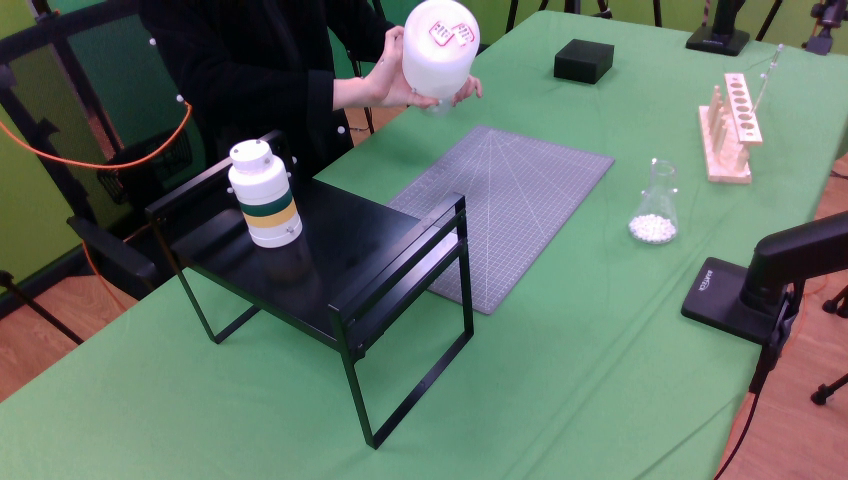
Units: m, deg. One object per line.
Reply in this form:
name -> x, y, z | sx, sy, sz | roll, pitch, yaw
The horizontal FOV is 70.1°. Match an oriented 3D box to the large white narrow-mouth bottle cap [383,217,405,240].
large white narrow-mouth bottle cap -> -0.050, -0.019, 1.003 | 0.038, 0.024, 0.037 | -4, 39, 4

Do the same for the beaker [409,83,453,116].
beaker -> 0.017, -0.259, 1.031 | 0.084, 0.100, 0.074 | -5, 84, 0

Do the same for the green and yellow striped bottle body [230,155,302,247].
green and yellow striped bottle body -> -0.188, -0.055, 0.714 | 0.063, 0.120, 0.063 | -4, 41, 4

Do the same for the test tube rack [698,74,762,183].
test tube rack -> 0.547, -0.208, 1.095 | 0.066, 0.085, 0.242 | 5, 42, 15

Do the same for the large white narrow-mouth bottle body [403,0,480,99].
large white narrow-mouth bottle body -> 0.020, -0.264, 0.889 | 0.102, 0.194, 0.101 | 0, 83, -3

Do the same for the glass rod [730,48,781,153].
glass rod -> 0.554, -0.228, 1.015 | 0.008, 0.200, 0.008 | 1, 44, -1

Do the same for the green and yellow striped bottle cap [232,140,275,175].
green and yellow striped bottle cap -> -0.192, -0.093, 0.680 | 0.045, 0.020, 0.045 | -5, 39, 5

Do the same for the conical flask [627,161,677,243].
conical flask -> 0.355, -0.061, 0.921 | 0.075, 0.122, 0.075 | -4, 41, 4
